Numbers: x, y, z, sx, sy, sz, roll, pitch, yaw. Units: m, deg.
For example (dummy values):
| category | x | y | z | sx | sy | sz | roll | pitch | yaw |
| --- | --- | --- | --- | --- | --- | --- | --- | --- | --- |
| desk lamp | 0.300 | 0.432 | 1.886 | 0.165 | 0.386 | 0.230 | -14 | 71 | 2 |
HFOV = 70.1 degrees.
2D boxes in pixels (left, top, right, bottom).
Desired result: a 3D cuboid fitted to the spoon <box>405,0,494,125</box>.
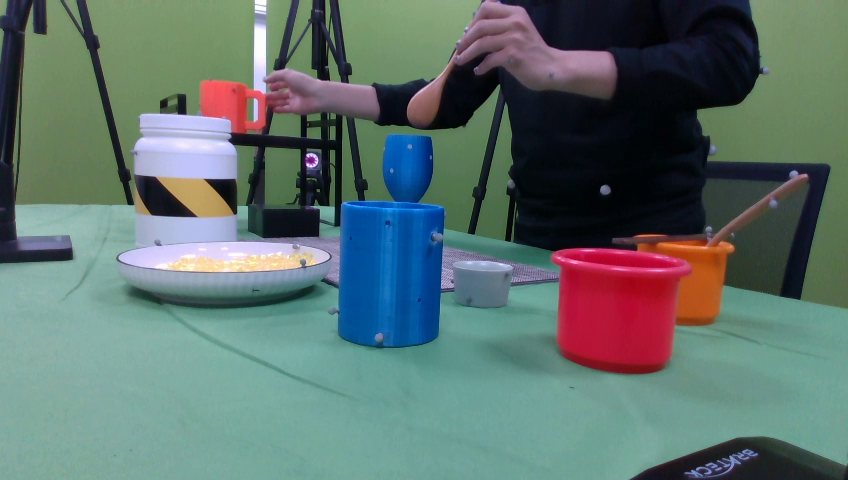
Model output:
| category | x | y | z | sx | sy | sz | roll | pitch | yaw |
| --- | --- | --- | --- | --- | --- | --- | --- | --- | --- |
| spoon | 0.034 | -0.239 | 0.806 | 0.041 | 0.193 | 0.022 | 35 | 9 | 9 |

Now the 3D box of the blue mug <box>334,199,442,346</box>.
| category | x | y | z | sx | sy | sz | roll | pitch | yaw |
| --- | --- | --- | --- | --- | --- | --- | --- | --- | --- |
| blue mug | -0.034 | 0.020 | 0.498 | 0.083 | 0.106 | 0.116 | 0 | 7 | -19 |

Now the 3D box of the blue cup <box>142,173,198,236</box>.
| category | x | y | z | sx | sy | sz | roll | pitch | yaw |
| --- | --- | --- | --- | --- | --- | --- | --- | --- | --- |
| blue cup | -0.425 | -0.059 | 1.013 | 0.093 | 0.100 | 0.092 | 4 | 8 | 0 |

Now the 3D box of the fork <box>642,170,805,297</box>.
| category | x | y | z | sx | sy | sz | roll | pitch | yaw |
| --- | --- | --- | --- | --- | --- | --- | --- | --- | --- |
| fork | 0.261 | 0.004 | 0.545 | 0.028 | 0.018 | 0.207 | 6 | -38 | -15 |

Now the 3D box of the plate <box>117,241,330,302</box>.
| category | x | y | z | sx | sy | sz | roll | pitch | yaw |
| --- | --- | --- | --- | --- | --- | --- | --- | --- | --- |
| plate | -0.203 | 0.031 | 0.630 | 0.209 | 0.038 | 0.209 | 3 | 7 | 0 |

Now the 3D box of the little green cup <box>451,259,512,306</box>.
| category | x | y | z | sx | sy | sz | roll | pitch | yaw |
| --- | --- | --- | --- | --- | --- | --- | --- | --- | --- |
| little green cup | 0.057 | 0.043 | 0.612 | 0.061 | 0.038 | 0.061 | 3 | 8 | 0 |

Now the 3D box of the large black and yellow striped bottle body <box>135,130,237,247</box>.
| category | x | y | z | sx | sy | sz | roll | pitch | yaw |
| --- | --- | --- | --- | --- | --- | --- | --- | --- | --- |
| large black and yellow striped bottle body | -0.327 | -0.074 | 0.838 | 0.131 | 0.184 | 0.130 | 2 | 7 | 0 |

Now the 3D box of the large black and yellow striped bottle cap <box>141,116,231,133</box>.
| category | x | y | z | sx | sy | sz | roll | pitch | yaw |
| --- | --- | --- | --- | --- | --- | --- | --- | --- | --- |
| large black and yellow striped bottle cap | -0.324 | -0.157 | 0.826 | 0.115 | 0.019 | 0.115 | 1 | 7 | 0 |

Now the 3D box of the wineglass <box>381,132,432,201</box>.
| category | x | y | z | sx | sy | sz | roll | pitch | yaw |
| --- | --- | --- | --- | --- | --- | --- | --- | --- | --- |
| wineglass | -0.026 | -0.062 | 0.841 | 0.074 | 0.172 | 0.073 | 2 | 7 | 0 |

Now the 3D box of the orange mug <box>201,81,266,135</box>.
| category | x | y | z | sx | sy | sz | roll | pitch | yaw |
| --- | --- | --- | --- | --- | --- | --- | --- | --- | --- |
| orange mug | -0.376 | -0.260 | 1.198 | 0.126 | 0.101 | 0.083 | -3 | 8 | -6 |

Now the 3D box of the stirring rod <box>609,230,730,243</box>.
| category | x | y | z | sx | sy | sz | roll | pitch | yaw |
| --- | --- | --- | --- | --- | --- | --- | --- | --- | --- |
| stirring rod | 0.241 | -0.004 | 0.582 | 0.177 | 0.006 | 0.014 | -4 | 10 | -33 |
